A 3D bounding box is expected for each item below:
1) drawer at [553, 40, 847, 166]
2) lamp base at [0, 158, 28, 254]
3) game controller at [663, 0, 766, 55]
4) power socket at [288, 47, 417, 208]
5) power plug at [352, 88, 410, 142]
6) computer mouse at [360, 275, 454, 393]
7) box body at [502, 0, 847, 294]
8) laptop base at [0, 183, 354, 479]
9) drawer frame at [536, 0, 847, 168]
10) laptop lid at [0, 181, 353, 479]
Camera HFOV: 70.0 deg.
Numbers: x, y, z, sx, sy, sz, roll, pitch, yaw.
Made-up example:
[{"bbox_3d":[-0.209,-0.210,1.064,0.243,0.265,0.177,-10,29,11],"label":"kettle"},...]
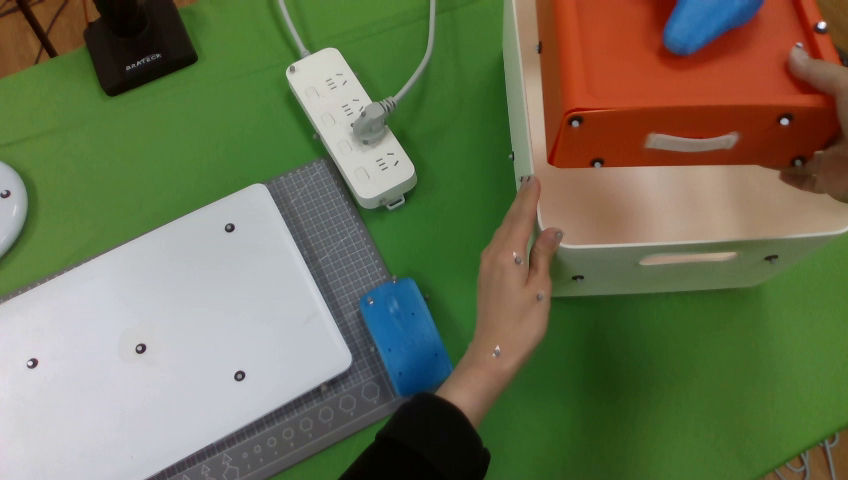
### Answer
[{"bbox_3d":[0.196,-0.163,0.482,0.194,0.074,0.210,-1,64,3],"label":"drawer"},{"bbox_3d":[-0.541,-0.063,0.609,0.178,0.181,0.160,20,69,14],"label":"lamp base"},{"bbox_3d":[0.190,-0.216,0.451,0.097,0.052,0.154,-21,67,-14],"label":"game controller"},{"bbox_3d":[-0.085,-0.134,0.698,0.072,0.033,0.225,-28,68,-11],"label":"power socket"},{"bbox_3d":[-0.044,-0.131,0.670,0.072,0.053,0.035,-17,66,-6],"label":"power plug"},{"bbox_3d":[-0.019,0.088,0.596,0.063,0.041,0.116,-23,64,-5],"label":"computer mouse"},{"bbox_3d":[0.216,-0.134,0.614,0.254,0.161,0.361,-3,67,1],"label":"box body"},{"bbox_3d":[-0.275,0.108,0.612,0.354,0.023,0.234,-28,72,-9],"label":"laptop base"},{"bbox_3d":[0.196,-0.166,0.483,0.202,0.083,0.212,0,64,1],"label":"drawer frame"},{"bbox_3d":[-0.274,0.106,0.600,0.357,0.013,0.240,-26,71,-8],"label":"laptop lid"}]
